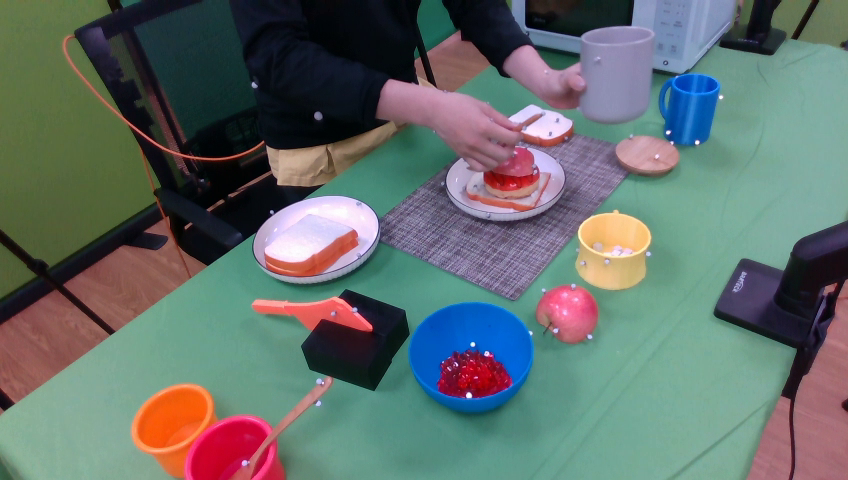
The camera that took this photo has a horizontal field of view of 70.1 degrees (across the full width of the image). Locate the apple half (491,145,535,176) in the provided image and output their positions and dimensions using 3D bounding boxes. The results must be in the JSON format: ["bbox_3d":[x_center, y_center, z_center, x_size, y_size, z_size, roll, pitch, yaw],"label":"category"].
[{"bbox_3d":[0.147,-0.138,0.993,0.081,0.033,0.081,0,37,0],"label":"apple half"}]

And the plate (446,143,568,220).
[{"bbox_3d":[0.142,-0.097,1.045,0.207,0.039,0.206,-4,40,4],"label":"plate"}]

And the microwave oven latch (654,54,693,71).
[{"bbox_3d":[0.532,-0.386,1.301,0.078,0.029,0.030,27,52,34],"label":"microwave oven latch"}]

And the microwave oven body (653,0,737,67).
[{"bbox_3d":[0.475,-0.602,1.411,0.438,0.261,0.327,23,50,32],"label":"microwave oven body"}]

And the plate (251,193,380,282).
[{"bbox_3d":[-0.174,-0.001,0.984,0.209,0.038,0.208,-4,40,4],"label":"plate"}]

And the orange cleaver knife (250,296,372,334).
[{"bbox_3d":[-0.158,0.103,0.828,0.210,0.078,0.012,-4,43,39],"label":"orange cleaver knife"}]

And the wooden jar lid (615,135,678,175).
[{"bbox_3d":[0.398,-0.151,1.086,0.108,0.021,0.108,-2,42,2],"label":"wooden jar lid"}]

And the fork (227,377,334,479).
[{"bbox_3d":[-0.163,0.216,0.647,0.207,0.019,0.028,-49,41,16],"label":"fork"}]

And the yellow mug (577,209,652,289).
[{"bbox_3d":[0.279,0.004,0.893,0.099,0.064,0.130,5,42,15],"label":"yellow mug"}]

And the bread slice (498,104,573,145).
[{"bbox_3d":[0.231,-0.231,1.205,0.105,0.019,0.130,-37,47,-29],"label":"bread slice"}]

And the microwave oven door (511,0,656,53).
[{"bbox_3d":[0.351,-0.539,1.349,0.353,0.245,0.039,24,50,31],"label":"microwave oven door"}]

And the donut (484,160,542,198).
[{"bbox_3d":[0.149,-0.110,1.016,0.099,0.048,0.098,-4,41,4],"label":"donut"}]

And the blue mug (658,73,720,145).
[{"bbox_3d":[0.483,-0.250,1.127,0.082,0.106,0.115,-26,44,-19],"label":"blue mug"}]

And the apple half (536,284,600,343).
[{"bbox_3d":[0.196,0.091,0.815,0.075,0.053,0.080,-22,42,-20],"label":"apple half"}]

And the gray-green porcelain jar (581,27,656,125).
[{"bbox_3d":[0.294,-0.248,0.923,0.106,0.127,0.105,-5,32,4],"label":"gray-green porcelain jar"}]

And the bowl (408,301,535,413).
[{"bbox_3d":[0.060,0.156,0.739,0.151,0.077,0.150,-4,40,4],"label":"bowl"}]

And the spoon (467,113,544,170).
[{"bbox_3d":[0.118,-0.144,0.903,0.042,0.193,0.021,-17,78,-28],"label":"spoon"}]

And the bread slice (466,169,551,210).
[{"bbox_3d":[0.141,-0.092,1.043,0.133,0.018,0.107,10,42,19],"label":"bread slice"}]
